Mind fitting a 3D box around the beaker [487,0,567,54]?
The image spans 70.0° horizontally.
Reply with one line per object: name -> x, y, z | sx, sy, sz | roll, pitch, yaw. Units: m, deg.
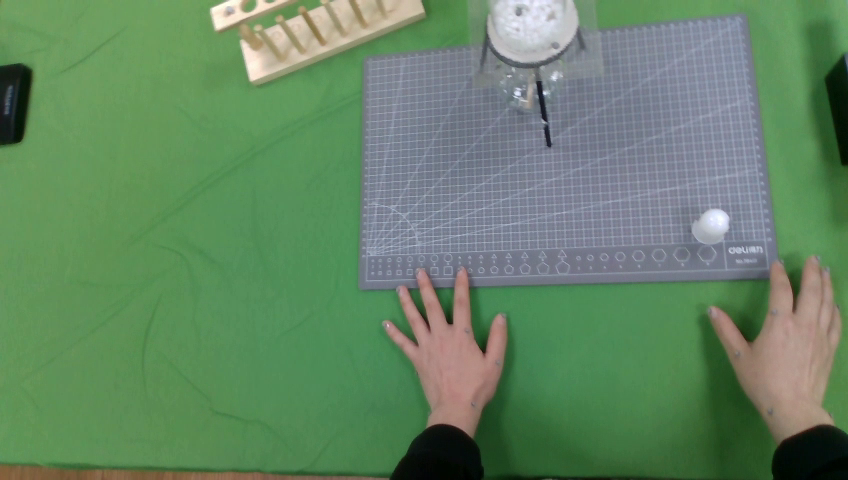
beaker -> 0.089, -0.221, 0.543 | 0.083, 0.101, 0.074 | 11, 81, 15

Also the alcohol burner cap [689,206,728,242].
alcohol burner cap -> 0.293, -0.019, 0.621 | 0.034, 0.048, 0.033 | -3, 76, 12

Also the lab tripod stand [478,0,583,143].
lab tripod stand -> 0.119, -0.194, 0.650 | 0.148, 0.132, 0.147 | -2, 78, 11

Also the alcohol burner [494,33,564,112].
alcohol burner -> 0.113, -0.189, 0.660 | 0.078, 0.120, 0.077 | -2, 76, 10

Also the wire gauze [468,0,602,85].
wire gauze -> 0.105, -0.210, 0.588 | 0.125, 0.011, 0.121 | -3, 81, 9

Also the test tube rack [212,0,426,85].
test tube rack -> -0.128, -0.282, 0.753 | 0.242, 0.086, 0.066 | -19, 74, 8
